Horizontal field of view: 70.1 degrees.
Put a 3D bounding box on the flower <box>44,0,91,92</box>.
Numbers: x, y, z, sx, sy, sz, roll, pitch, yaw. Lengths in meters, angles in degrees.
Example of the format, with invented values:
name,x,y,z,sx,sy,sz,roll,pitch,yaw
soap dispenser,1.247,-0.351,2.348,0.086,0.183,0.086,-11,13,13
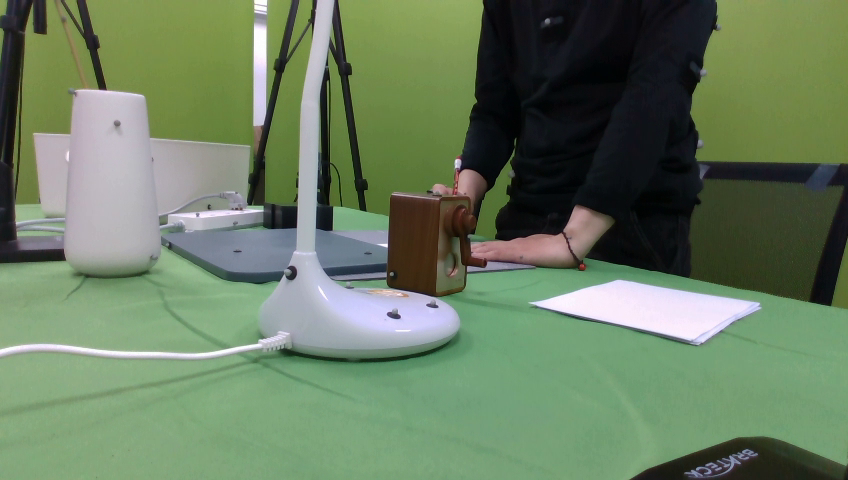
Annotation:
name,x,y,z,sx,sy,sz,roll,pitch,yaw
flower,-0.361,-0.142,0.663,0.044,0.361,0.038,-12,11,30

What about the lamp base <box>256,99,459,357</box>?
name,x,y,z,sx,sy,sz,roll,pitch,yaw
lamp base,-0.055,-0.013,0.463,0.160,0.180,0.180,6,11,27

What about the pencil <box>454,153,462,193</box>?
name,x,y,z,sx,sy,sz,roll,pitch,yaw
pencil,0.053,-0.073,1.035,0.012,0.193,0.012,4,-33,3

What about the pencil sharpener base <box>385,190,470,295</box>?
name,x,y,z,sx,sy,sz,roll,pitch,yaw
pencil sharpener base,0.006,0.001,0.653,0.076,0.107,0.061,8,9,37

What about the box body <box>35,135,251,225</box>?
name,x,y,z,sx,sy,sz,roll,pitch,yaw
box body,-0.559,-0.127,1.257,0.253,0.160,0.365,4,8,15

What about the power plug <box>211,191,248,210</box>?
name,x,y,z,sx,sy,sz,roll,pitch,yaw
power plug,-0.384,-0.071,1.205,0.072,0.052,0.035,1,8,28

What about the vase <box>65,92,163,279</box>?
name,x,y,z,sx,sy,sz,roll,pitch,yaw
vase,-0.347,-0.060,0.673,0.098,0.200,0.098,1,7,0

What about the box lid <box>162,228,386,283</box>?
name,x,y,z,sx,sy,sz,roll,pitch,yaw
box lid,-0.200,0.014,0.861,0.265,0.015,0.369,-4,10,-35

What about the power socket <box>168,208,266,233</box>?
name,x,y,z,sx,sy,sz,roll,pitch,yaw
power socket,-0.379,-0.038,1.129,0.072,0.032,0.227,4,8,18

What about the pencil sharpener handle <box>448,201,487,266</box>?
name,x,y,z,sx,sy,sz,roll,pitch,yaw
pencil sharpener handle,0.049,-0.006,0.623,0.030,0.068,0.036,8,22,37
